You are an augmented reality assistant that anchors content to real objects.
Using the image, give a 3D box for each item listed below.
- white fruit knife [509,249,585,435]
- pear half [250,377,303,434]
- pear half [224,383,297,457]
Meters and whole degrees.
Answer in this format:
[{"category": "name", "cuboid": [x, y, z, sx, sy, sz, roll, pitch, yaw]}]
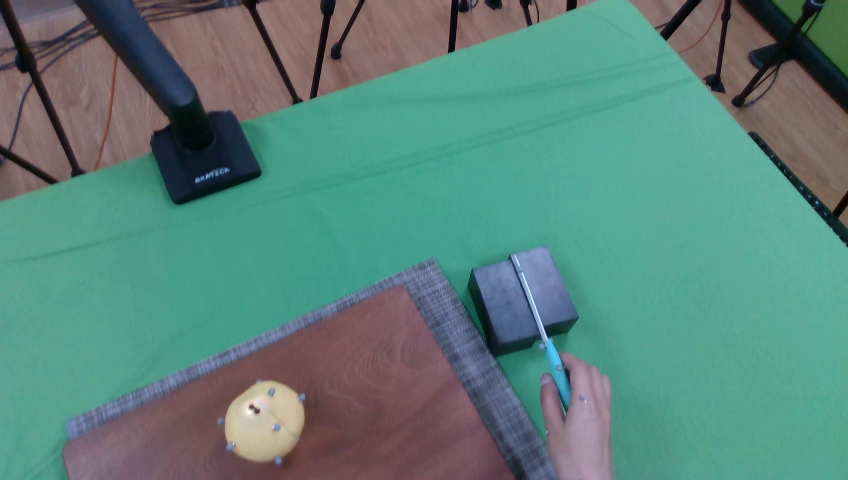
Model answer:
[{"category": "white fruit knife", "cuboid": [0.125, 0.107, 0.626, 0.016, 0.027, 0.207, -21, 91, -5]}, {"category": "pear half", "cuboid": [-0.145, 0.161, 0.616, 0.070, 0.089, 0.031, 35, 66, 19]}, {"category": "pear half", "cuboid": [-0.168, 0.179, 0.593, 0.076, 0.110, 0.056, 36, 66, 18]}]
